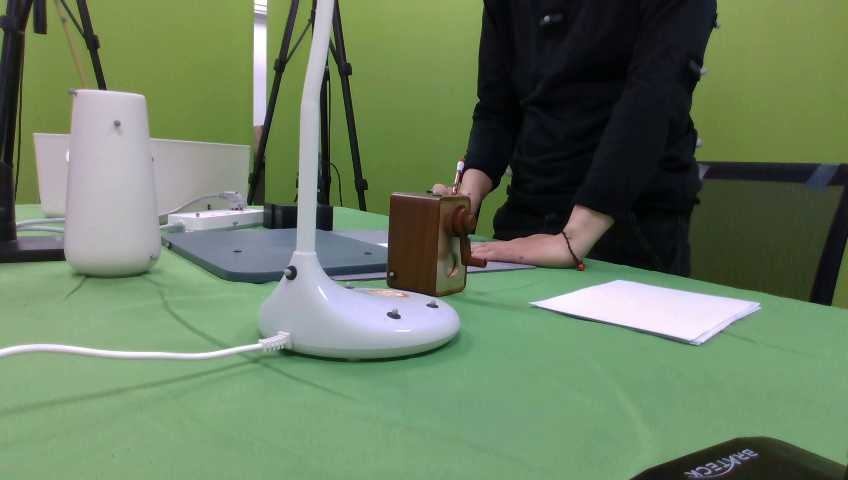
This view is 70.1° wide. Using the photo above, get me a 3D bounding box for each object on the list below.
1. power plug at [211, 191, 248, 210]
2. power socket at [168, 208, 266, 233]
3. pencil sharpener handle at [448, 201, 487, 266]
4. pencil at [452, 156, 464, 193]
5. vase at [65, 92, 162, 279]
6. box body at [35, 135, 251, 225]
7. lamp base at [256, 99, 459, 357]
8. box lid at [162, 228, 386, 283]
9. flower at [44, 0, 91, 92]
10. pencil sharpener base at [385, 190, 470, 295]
[{"bbox_3d":[-0.384,-0.071,1.205,0.072,0.052,0.035,1,8,28],"label":"power plug"},{"bbox_3d":[-0.379,-0.038,1.129,0.072,0.032,0.227,4,8,18],"label":"power socket"},{"bbox_3d":[0.049,-0.006,0.623,0.030,0.068,0.036,8,22,37],"label":"pencil sharpener handle"},{"bbox_3d":[0.049,-0.070,1.027,0.012,0.194,0.012,9,-34,7],"label":"pencil"},{"bbox_3d":[-0.347,-0.060,0.673,0.098,0.200,0.098,1,7,0],"label":"vase"},{"bbox_3d":[-0.559,-0.127,1.257,0.253,0.160,0.365,4,8,15],"label":"box body"},{"bbox_3d":[-0.055,-0.013,0.463,0.160,0.180,0.180,6,11,27],"label":"lamp base"},{"bbox_3d":[-0.200,0.014,0.861,0.265,0.015,0.369,-4,10,-35],"label":"box lid"},{"bbox_3d":[-0.361,-0.142,0.663,0.044,0.361,0.038,-12,11,30],"label":"flower"},{"bbox_3d":[0.006,0.001,0.653,0.076,0.107,0.061,8,9,37],"label":"pencil sharpener base"}]
